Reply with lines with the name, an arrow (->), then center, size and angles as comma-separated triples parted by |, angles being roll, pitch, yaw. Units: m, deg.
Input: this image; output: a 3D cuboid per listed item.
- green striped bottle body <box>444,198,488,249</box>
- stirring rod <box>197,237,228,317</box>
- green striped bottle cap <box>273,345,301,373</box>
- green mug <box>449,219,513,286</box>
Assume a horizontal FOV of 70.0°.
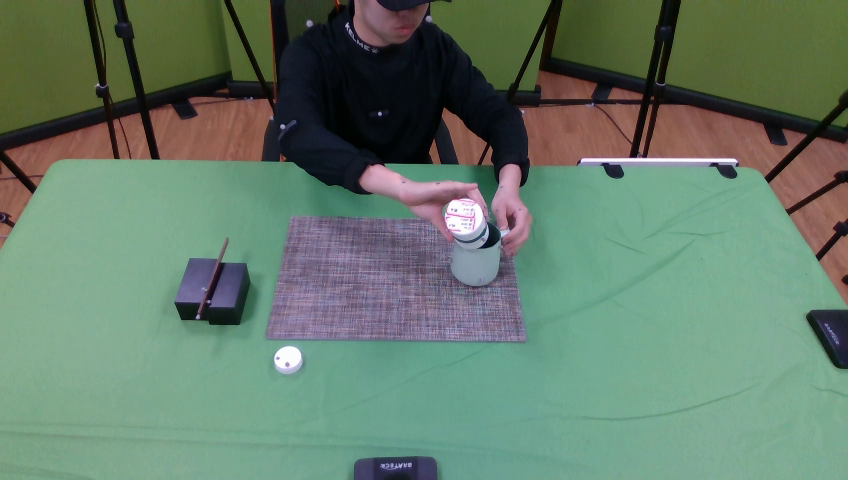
green striped bottle body -> 0.074, -0.024, 1.022 | 0.063, 0.120, 0.063 | -3, 74, 11
stirring rod -> -0.363, 0.060, 1.047 | 0.006, 0.014, 0.175 | 7, 46, -3
green striped bottle cap -> -0.225, 0.195, 0.997 | 0.044, 0.020, 0.044 | 2, 50, -2
green mug -> 0.110, 0.018, 1.126 | 0.125, 0.105, 0.092 | -19, 50, -21
